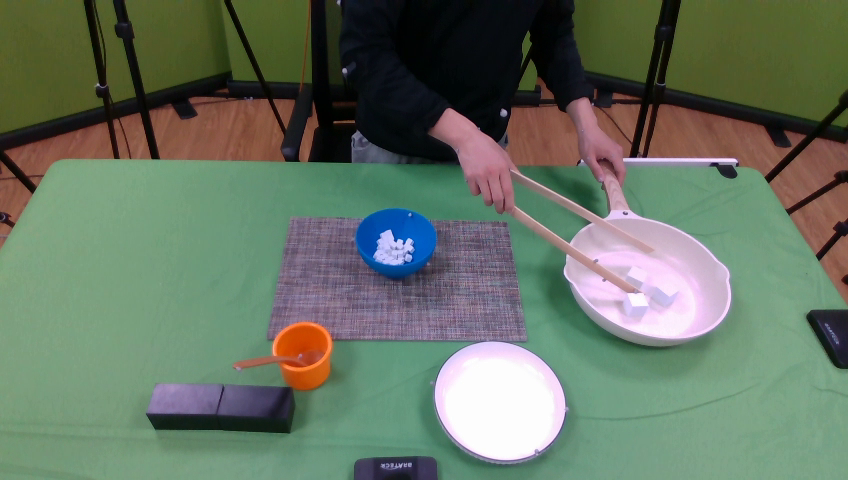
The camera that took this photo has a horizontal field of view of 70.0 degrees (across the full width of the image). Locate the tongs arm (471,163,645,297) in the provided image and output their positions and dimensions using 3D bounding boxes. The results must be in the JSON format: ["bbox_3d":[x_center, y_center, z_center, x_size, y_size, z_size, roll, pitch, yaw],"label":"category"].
[{"bbox_3d":[0.245,-0.014,1.097,0.385,0.026,0.050,31,62,-9],"label":"tongs arm"}]

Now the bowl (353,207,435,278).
[{"bbox_3d":[-0.056,0.018,1.132,0.151,0.077,0.150,2,46,-2],"label":"bowl"}]

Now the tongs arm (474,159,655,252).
[{"bbox_3d":[0.267,-0.061,1.126,0.388,0.028,0.028,26,66,-12],"label":"tongs arm"}]

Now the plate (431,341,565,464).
[{"bbox_3d":[0.114,0.255,0.951,0.208,0.039,0.206,3,46,-2],"label":"plate"}]

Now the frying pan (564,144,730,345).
[{"bbox_3d":[0.396,-0.008,1.179,0.307,0.103,0.484,0,55,-5],"label":"frying pan"}]

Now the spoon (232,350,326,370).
[{"bbox_3d":[-0.216,0.182,0.919,0.041,0.194,0.021,44,102,27],"label":"spoon"}]
